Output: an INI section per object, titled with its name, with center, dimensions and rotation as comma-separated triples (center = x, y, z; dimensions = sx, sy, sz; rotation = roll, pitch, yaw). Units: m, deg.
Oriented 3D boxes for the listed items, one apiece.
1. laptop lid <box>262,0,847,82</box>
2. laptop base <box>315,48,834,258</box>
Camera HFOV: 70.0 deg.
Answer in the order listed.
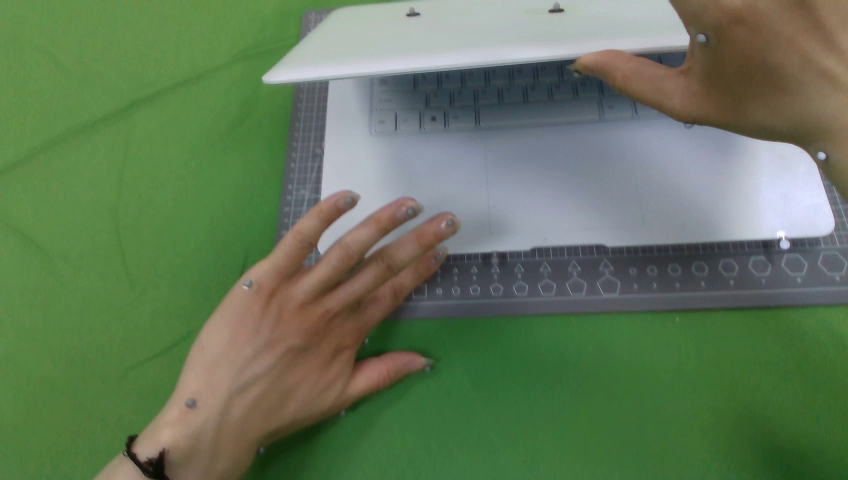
[laptop lid]
center = 0.091, -0.150, 0.411
dimensions = 0.356, 0.013, 0.240
rotation = -2, 28, 6
[laptop base]
center = 0.098, -0.096, 0.469
dimensions = 0.354, 0.023, 0.233
rotation = -2, 65, 4
